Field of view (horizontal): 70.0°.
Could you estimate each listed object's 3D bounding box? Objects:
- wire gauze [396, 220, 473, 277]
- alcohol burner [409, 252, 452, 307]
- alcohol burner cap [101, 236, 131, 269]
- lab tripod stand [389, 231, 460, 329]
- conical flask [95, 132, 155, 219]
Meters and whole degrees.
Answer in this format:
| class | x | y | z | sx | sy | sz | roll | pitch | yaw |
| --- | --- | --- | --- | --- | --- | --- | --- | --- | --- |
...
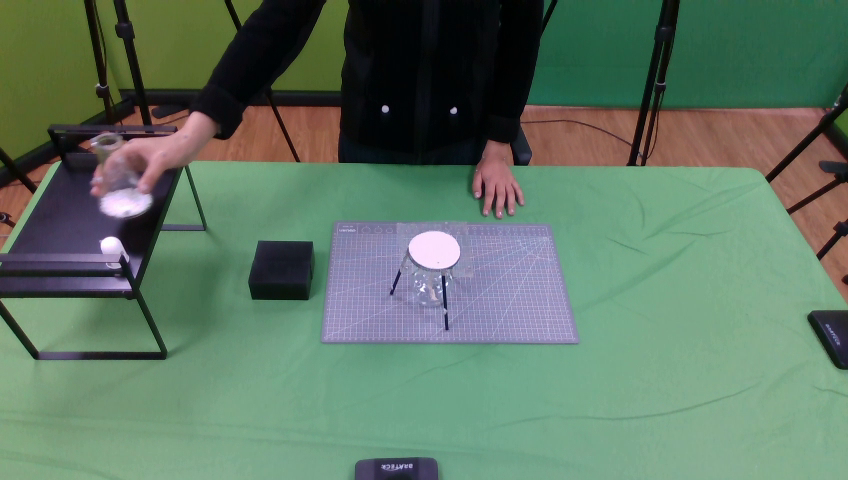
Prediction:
| class | x | y | z | sx | sy | sz | roll | pitch | yaw |
| --- | --- | --- | --- | --- | --- | --- | --- | --- | --- |
| wire gauze | 0.016 | 0.012 | 1.013 | 0.125 | 0.011 | 0.120 | 1 | 47 | -5 |
| alcohol burner | 0.013 | 0.063 | 1.071 | 0.078 | 0.119 | 0.077 | 4 | 45 | -3 |
| alcohol burner cap | -0.451 | 0.016 | 0.883 | 0.034 | 0.048 | 0.033 | 2 | 45 | -2 |
| lab tripod stand | 0.015 | 0.063 | 1.058 | 0.148 | 0.132 | 0.147 | 4 | 46 | -4 |
| conical flask | -0.445 | -0.097 | 0.886 | 0.075 | 0.122 | 0.075 | 5 | 42 | -4 |
